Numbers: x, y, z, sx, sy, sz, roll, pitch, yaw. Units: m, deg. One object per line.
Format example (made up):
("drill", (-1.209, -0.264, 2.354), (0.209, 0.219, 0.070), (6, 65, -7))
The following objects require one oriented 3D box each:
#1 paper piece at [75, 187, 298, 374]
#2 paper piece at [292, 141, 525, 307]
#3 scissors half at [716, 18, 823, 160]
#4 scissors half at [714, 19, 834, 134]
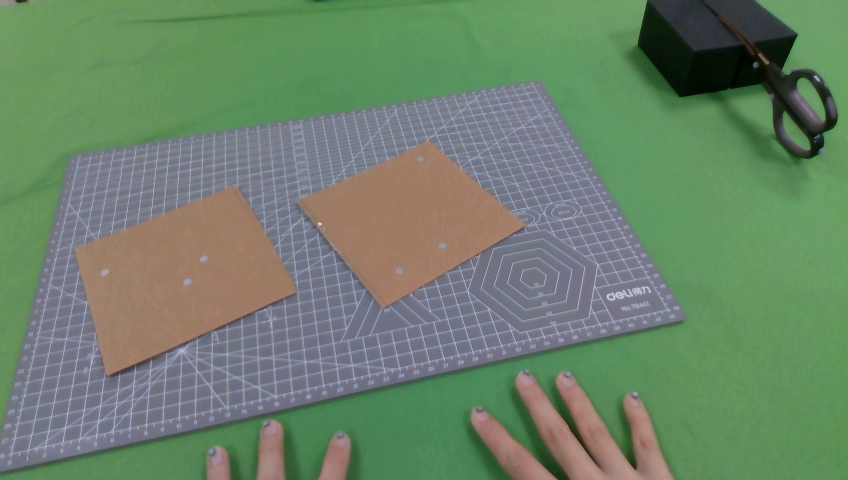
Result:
("paper piece", (-0.183, 0.021, 0.457), (0.136, 0.004, 0.134), (-24, 51, -19))
("paper piece", (-0.014, -0.021, 0.489), (0.138, 0.009, 0.134), (-27, 56, -22))
("scissors half", (0.304, -0.141, 0.547), (0.013, 0.040, 0.173), (-16, 63, 0))
("scissors half", (0.299, -0.153, 0.531), (0.013, 0.040, 0.173), (-19, 45, 4))
